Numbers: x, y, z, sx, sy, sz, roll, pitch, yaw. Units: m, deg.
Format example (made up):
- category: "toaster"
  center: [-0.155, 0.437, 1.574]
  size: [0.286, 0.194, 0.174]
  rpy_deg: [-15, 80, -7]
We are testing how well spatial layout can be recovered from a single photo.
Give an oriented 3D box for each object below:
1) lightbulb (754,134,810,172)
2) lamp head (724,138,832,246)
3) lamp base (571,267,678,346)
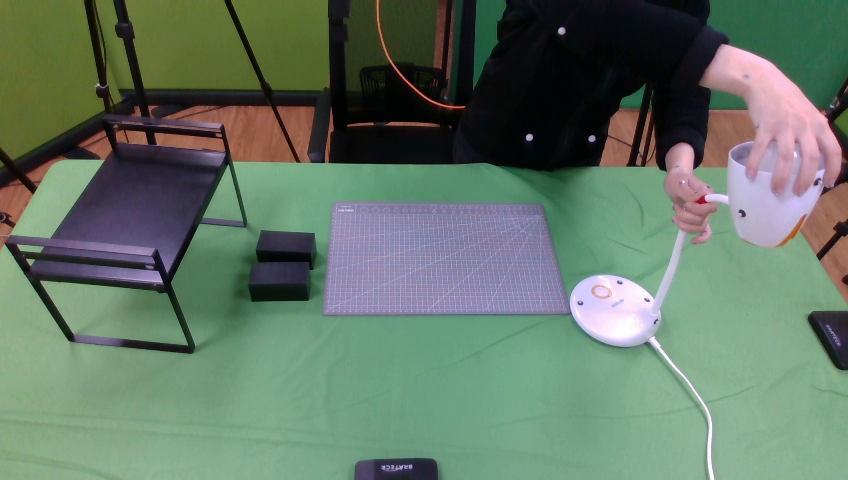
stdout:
- category: "lightbulb"
  center: [0.435, -0.076, 0.744]
  size: [0.059, 0.108, 0.059]
  rpy_deg: [-3, 24, 2]
- category: "lamp head"
  center: [0.429, -0.056, 0.758]
  size: [0.112, 0.123, 0.112]
  rpy_deg: [-3, 34, 2]
- category: "lamp base"
  center: [0.359, 0.077, 1.038]
  size: [0.160, 0.181, 0.178]
  rpy_deg: [-33, 58, -30]
